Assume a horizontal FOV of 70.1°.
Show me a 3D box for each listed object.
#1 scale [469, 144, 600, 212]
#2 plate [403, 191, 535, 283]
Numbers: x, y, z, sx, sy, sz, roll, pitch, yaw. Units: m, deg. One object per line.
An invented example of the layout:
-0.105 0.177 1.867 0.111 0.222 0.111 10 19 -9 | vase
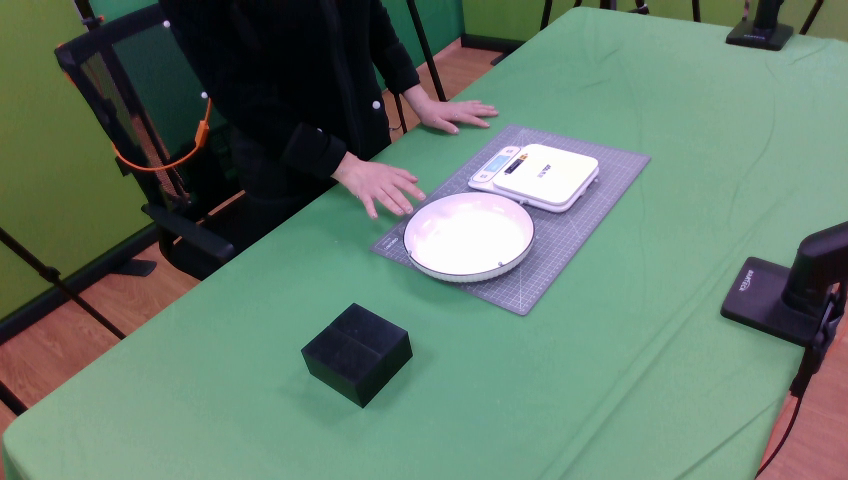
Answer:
0.194 -0.117 1.075 0.199 0.032 0.149 21 48 32 | scale
0.071 -0.003 0.959 0.209 0.038 0.208 -5 40 5 | plate
